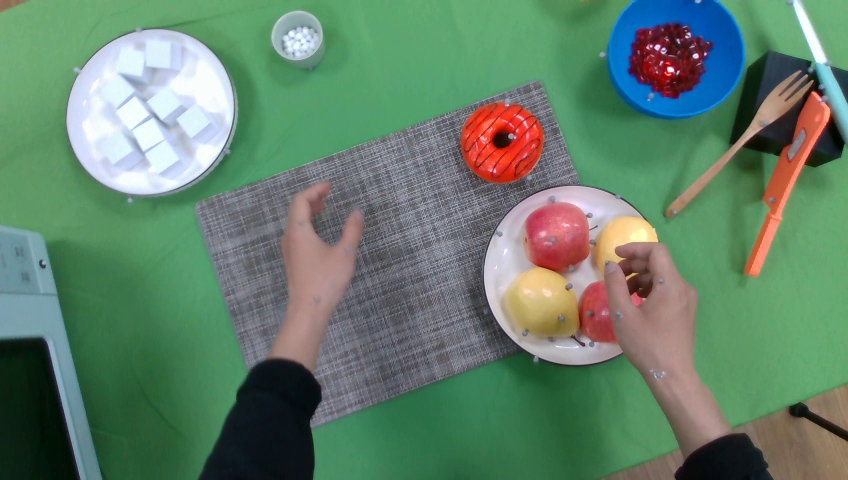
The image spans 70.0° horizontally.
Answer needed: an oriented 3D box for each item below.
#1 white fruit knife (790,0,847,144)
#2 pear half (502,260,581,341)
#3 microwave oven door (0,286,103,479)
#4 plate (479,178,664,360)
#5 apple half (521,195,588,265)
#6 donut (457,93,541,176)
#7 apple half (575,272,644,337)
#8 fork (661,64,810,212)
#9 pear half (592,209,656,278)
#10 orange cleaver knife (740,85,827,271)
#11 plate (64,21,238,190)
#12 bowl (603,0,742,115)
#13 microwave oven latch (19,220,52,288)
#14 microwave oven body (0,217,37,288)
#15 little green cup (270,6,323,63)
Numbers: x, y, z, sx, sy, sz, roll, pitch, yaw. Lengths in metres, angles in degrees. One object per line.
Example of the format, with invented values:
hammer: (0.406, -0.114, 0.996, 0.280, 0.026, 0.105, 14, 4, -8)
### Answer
white fruit knife: (0.445, -0.199, 0.679, 0.027, 0.016, 0.206, -15, 81, -28)
pear half: (0.143, 0.075, 0.685, 0.110, 0.056, 0.076, 43, 92, -1)
microwave oven door: (-0.407, 0.217, 0.589, 0.039, 0.244, 0.355, -18, 84, 0)
plate: (0.168, 0.033, 0.702, 0.209, 0.038, 0.208, 0, 85, 2)
apple half: (0.150, -0.012, 0.689, 0.074, 0.053, 0.080, -3, 88, 3)
donut: (0.088, -0.124, 0.716, 0.099, 0.048, 0.099, 0, 86, 5)
apple half: (0.204, 0.073, 0.679, 0.081, 0.033, 0.081, 0, 90, 27)
fork: (0.347, -0.111, 0.688, 0.028, 0.018, 0.207, 39, 107, -2)
pear half: (0.224, 0.008, 0.689, 0.070, 0.031, 0.088, 13, 99, 27)
orange cleaver knife: (0.401, -0.068, 0.685, 0.012, 0.077, 0.212, 16, 111, 8)
plate: (-0.327, -0.161, 0.740, 0.207, 0.039, 0.207, 0, 85, 2)
bowl: (0.275, -0.211, 0.704, 0.151, 0.077, 0.151, 0, 86, 2)
microwave oven latch: (-0.464, 0.018, 0.710, 0.030, 0.029, 0.079, -16, 85, 0)
microwave oven body: (-0.558, 0.220, 0.599, 0.326, 0.260, 0.440, -17, 85, 0)
little green cup: (-0.154, -0.248, 0.742, 0.061, 0.039, 0.061, 0, 85, 3)
